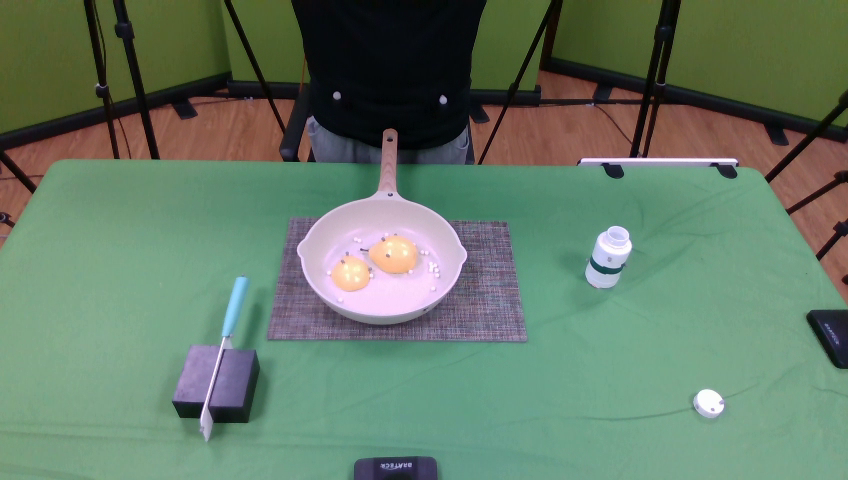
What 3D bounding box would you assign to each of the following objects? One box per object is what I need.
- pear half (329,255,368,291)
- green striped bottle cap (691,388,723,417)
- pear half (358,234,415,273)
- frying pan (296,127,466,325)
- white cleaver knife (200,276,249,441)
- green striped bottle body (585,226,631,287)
[{"bbox_3d":[-0.140,0.053,1.122,0.070,0.031,0.087,-7,50,-17],"label":"pear half"},{"bbox_3d":[0.460,0.263,0.984,0.044,0.020,0.044,3,46,-3],"label":"green striped bottle cap"},{"bbox_3d":[-0.074,0.017,1.146,0.110,0.056,0.076,8,41,6],"label":"pear half"},{"bbox_3d":[-0.076,-0.045,1.172,0.307,0.103,0.485,4,55,-2],"label":"frying pan"},{"bbox_3d":[-0.321,0.177,0.972,0.021,0.066,0.284,7,48,-5],"label":"white cleaver knife"},{"bbox_3d":[0.344,0.028,1.129,0.063,0.120,0.063,2,46,-2],"label":"green striped bottle body"}]
